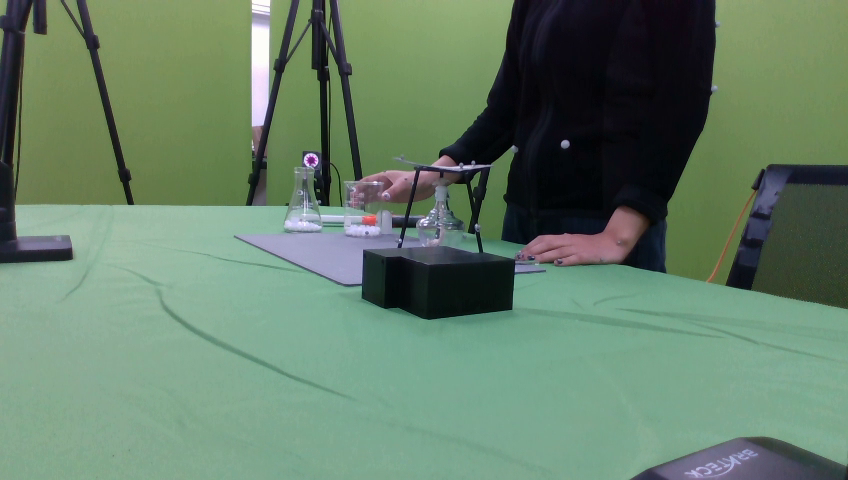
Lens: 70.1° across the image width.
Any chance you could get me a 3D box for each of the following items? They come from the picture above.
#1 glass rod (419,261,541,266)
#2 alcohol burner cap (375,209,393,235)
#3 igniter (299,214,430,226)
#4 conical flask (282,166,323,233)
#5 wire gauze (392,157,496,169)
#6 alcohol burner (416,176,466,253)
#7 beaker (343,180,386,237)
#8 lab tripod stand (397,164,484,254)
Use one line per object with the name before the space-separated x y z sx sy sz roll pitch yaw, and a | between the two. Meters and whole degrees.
glass rod | 0.080 0.031 0.807 0.201 0.008 0.008 1 6 -32
alcohol burner cap | -0.076 -0.035 1.150 0.034 0.048 0.034 3 8 0
igniter | -0.123 -0.044 1.281 0.278 0.025 0.057 0 -2 -19
conical flask | -0.225 -0.076 1.129 0.075 0.122 0.075 2 8 0
wire gauze | 0.032 -0.116 0.924 0.124 0.011 0.122 8 8 32
alcohol burner | 0.027 -0.039 0.935 0.078 0.119 0.078 3 9 0
beaker | -0.111 -0.058 1.090 0.083 0.100 0.074 7 8 33
lab tripod stand | 0.029 -0.049 0.930 0.148 0.131 0.148 4 6 0
